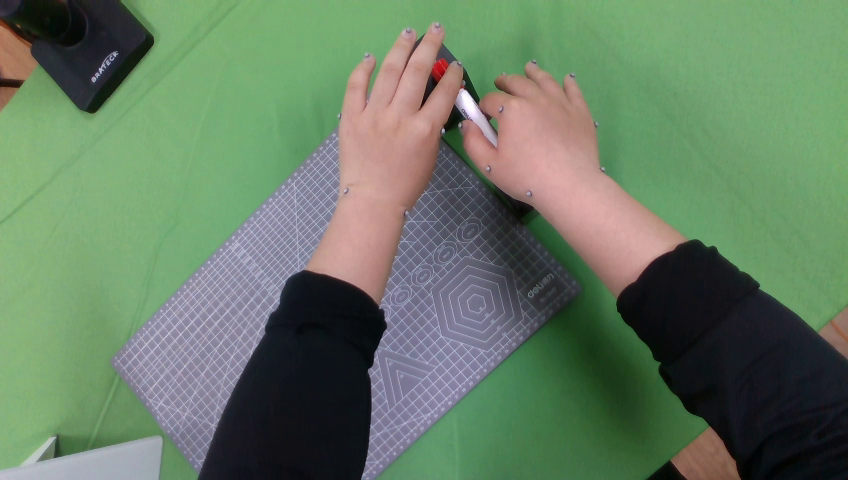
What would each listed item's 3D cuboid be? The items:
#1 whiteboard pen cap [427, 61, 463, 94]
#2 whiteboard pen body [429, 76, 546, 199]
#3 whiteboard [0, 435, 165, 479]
[{"bbox_3d":[0.018,-0.136,0.518,0.017,0.017,0.032,-37,83,9],"label":"whiteboard pen cap"},{"bbox_3d":[0.051,-0.089,0.510,0.017,0.017,0.140,-43,83,8],"label":"whiteboard pen body"},{"bbox_3d":[-0.444,0.309,0.593,0.143,0.307,0.217,8,91,32],"label":"whiteboard"}]
